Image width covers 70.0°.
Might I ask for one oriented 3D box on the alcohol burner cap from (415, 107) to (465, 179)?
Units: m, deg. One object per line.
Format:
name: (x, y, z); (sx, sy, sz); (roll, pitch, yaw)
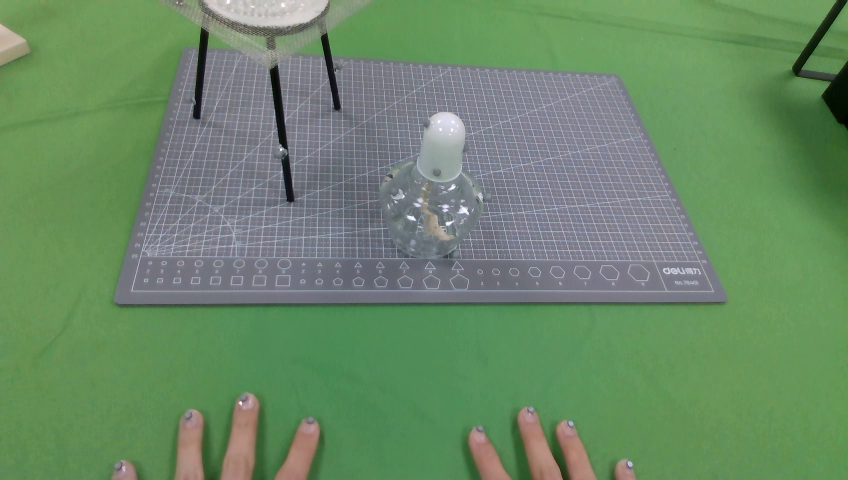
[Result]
alcohol burner cap: (0.012, -0.067, 0.406); (0.034, 0.048, 0.033); (3, 55, -4)

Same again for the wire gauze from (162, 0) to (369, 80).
wire gauze: (-0.112, -0.172, 0.420); (0.124, 0.011, 0.121); (34, 56, 12)

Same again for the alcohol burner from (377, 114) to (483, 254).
alcohol burner: (0.007, -0.045, 0.435); (0.078, 0.120, 0.077); (6, 49, -7)

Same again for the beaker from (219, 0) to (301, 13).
beaker: (-0.110, -0.204, 0.381); (0.073, 0.101, 0.084); (32, 54, 16)

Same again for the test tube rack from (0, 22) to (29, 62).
test tube rack: (-0.448, -0.146, 0.458); (0.066, 0.086, 0.241); (31, 52, 15)

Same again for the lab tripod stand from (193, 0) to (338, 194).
lab tripod stand: (-0.118, -0.131, 0.470); (0.149, 0.132, 0.147); (6, 51, -7)
